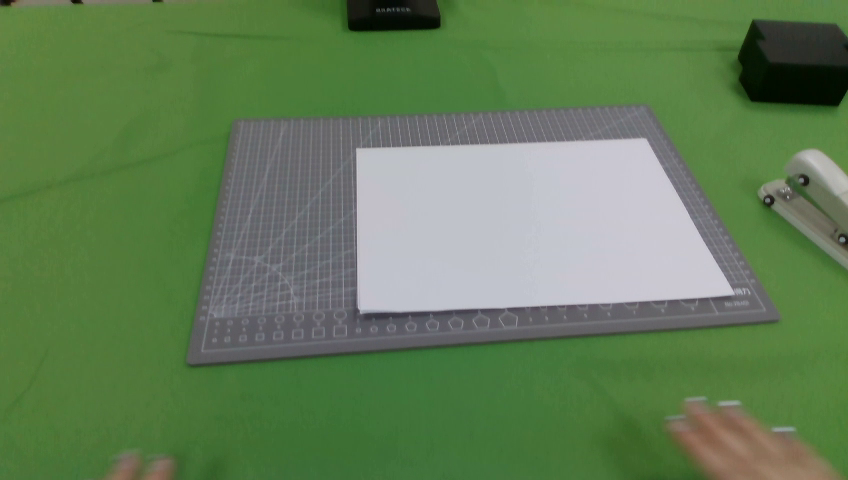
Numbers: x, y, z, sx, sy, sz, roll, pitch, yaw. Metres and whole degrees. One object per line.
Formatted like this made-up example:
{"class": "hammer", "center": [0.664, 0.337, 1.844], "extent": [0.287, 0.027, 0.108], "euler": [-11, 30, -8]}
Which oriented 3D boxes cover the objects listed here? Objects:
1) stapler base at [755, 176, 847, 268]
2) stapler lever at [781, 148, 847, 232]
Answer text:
{"class": "stapler base", "center": [0.358, -0.019, 0.539], "extent": [0.041, 0.024, 0.129], "euler": [-20, 52, -17]}
{"class": "stapler lever", "center": [0.360, -0.035, 0.521], "extent": [0.027, 0.040, 0.116], "euler": [-20, 51, -17]}
